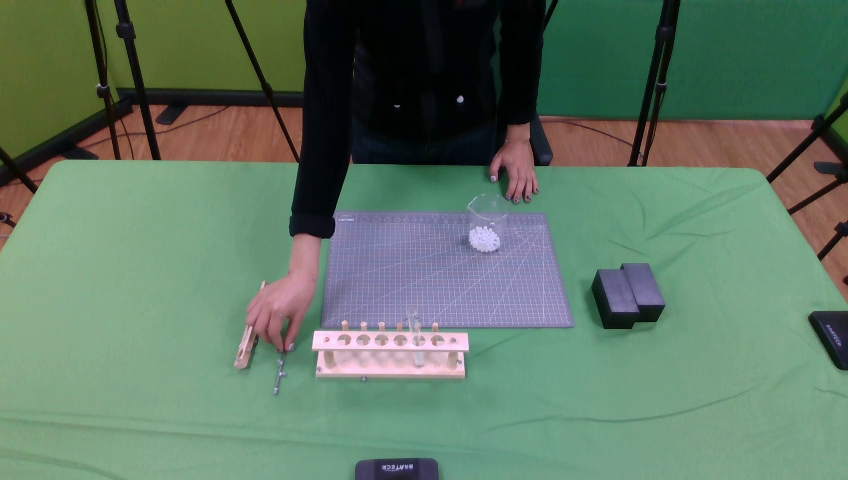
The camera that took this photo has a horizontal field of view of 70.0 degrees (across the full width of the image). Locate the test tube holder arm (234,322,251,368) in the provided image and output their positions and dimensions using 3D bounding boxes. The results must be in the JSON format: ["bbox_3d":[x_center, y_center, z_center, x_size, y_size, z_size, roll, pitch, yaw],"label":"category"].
[{"bbox_3d":[-0.299,0.174,1.013,0.010,0.015,0.087,-20,40,24],"label":"test tube holder arm"}]

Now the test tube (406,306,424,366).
[{"bbox_3d":[-0.013,0.152,0.939,0.017,0.151,0.017,-3,48,3],"label":"test tube"}]

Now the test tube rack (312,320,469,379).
[{"bbox_3d":[-0.054,0.173,0.984,0.242,0.085,0.066,1,46,-3],"label":"test tube rack"}]

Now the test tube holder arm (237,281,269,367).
[{"bbox_3d":[-0.291,0.141,1.043,0.013,0.015,0.177,-21,39,23],"label":"test tube holder arm"}]

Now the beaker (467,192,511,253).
[{"bbox_3d":[0.121,-0.031,1.179,0.084,0.101,0.073,3,46,0],"label":"beaker"}]

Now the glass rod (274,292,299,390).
[{"bbox_3d":[-0.232,0.166,1.031,0.008,0.008,0.198,3,46,0],"label":"glass rod"}]
